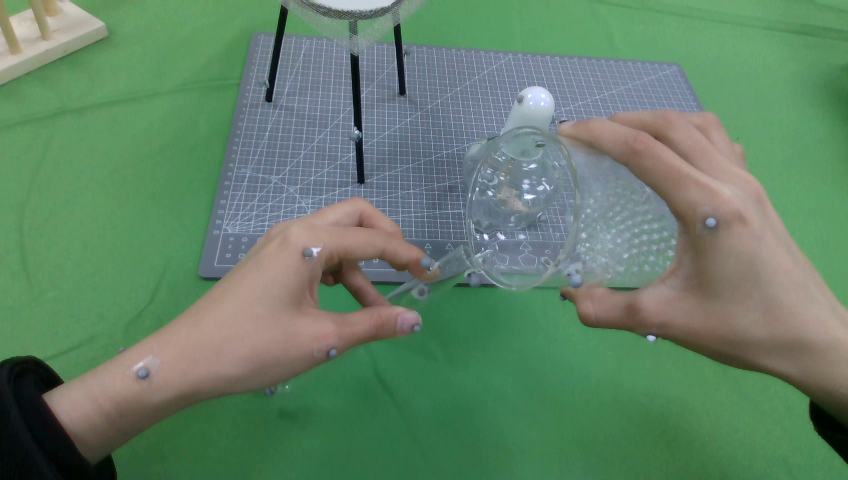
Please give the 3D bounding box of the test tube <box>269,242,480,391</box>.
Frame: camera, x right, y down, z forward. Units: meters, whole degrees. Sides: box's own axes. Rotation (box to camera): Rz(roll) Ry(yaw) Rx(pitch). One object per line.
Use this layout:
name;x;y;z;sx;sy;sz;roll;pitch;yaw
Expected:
test tube;-0.032;0.045;0.330;0.017;0.150;0.017;43;26;-27

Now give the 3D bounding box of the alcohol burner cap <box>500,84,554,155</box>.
alcohol burner cap;0.073;-0.086;0.420;0.034;0.048;0.033;3;56;-5

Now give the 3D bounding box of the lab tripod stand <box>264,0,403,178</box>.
lab tripod stand;-0.063;-0.145;0.480;0.149;0.132;0.147;5;52;-7

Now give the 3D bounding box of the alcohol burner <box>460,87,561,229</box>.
alcohol burner;0.068;-0.064;0.449;0.078;0.120;0.077;5;49;-6

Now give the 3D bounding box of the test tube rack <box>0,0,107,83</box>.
test tube rack;-0.392;-0.166;0.482;0.066;0.086;0.242;33;54;17

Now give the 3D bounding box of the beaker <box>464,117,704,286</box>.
beaker;0.080;-0.012;0.301;0.101;0.084;0.073;3;57;-33

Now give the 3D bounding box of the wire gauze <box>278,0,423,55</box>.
wire gauze;-0.057;-0.186;0.428;0.124;0.011;0.121;34;55;16
